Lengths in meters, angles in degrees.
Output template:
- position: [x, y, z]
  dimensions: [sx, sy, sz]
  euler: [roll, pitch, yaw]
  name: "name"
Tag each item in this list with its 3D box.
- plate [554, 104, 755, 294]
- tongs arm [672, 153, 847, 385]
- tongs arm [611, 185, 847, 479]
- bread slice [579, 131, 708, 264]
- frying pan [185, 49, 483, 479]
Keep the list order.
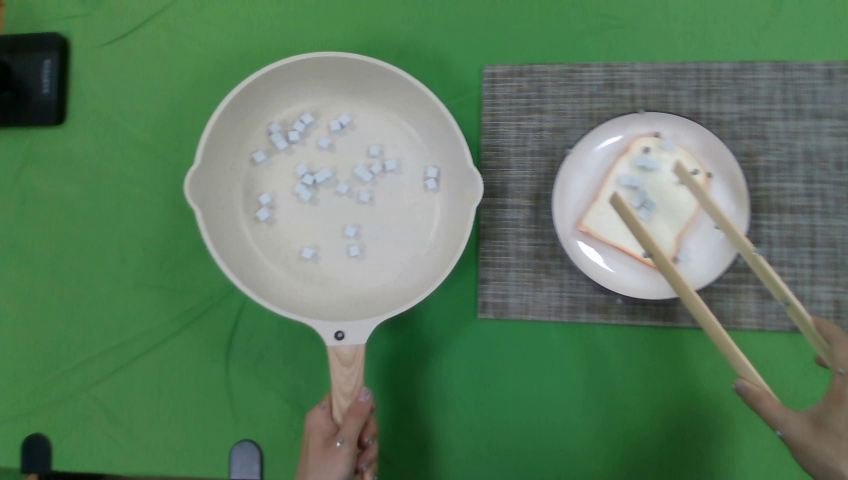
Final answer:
- position: [0.248, -0.043, 0.668]
  dimensions: [0.207, 0.039, 0.207]
  euler: [-1, 85, 7]
  name: "plate"
- position: [0.326, 0.080, 0.539]
  dimensions: [0.051, 0.027, 0.381]
  euler: [-28, 68, -8]
  name: "tongs arm"
- position: [0.288, 0.099, 0.534]
  dimensions: [0.028, 0.028, 0.384]
  euler: [-28, 68, -12]
  name: "tongs arm"
- position: [0.246, -0.051, 0.671]
  dimensions: [0.107, 0.018, 0.134]
  euler: [25, 90, 7]
  name: "bread slice"
- position: [-0.086, 0.045, 0.637]
  dimensions: [0.307, 0.103, 0.485]
  euler: [-1, 76, -9]
  name: "frying pan"
